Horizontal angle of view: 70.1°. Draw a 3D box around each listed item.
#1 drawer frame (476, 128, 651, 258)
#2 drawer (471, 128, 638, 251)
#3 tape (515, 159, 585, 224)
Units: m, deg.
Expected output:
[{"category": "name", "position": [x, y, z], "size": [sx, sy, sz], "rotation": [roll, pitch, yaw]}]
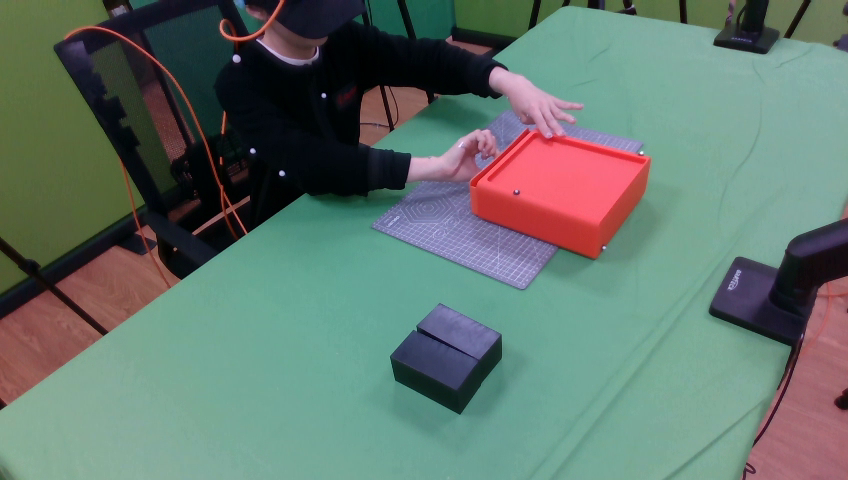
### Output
[{"category": "drawer frame", "position": [0.229, -0.086, 0.992], "size": [0.212, 0.083, 0.202], "rotation": [22, 48, 29]}, {"category": "drawer", "position": [0.215, -0.090, 1.002], "size": [0.210, 0.073, 0.195], "rotation": [23, 48, 29]}, {"category": "tape", "position": [0.209, -0.082, 1.003], "size": [0.117, 0.053, 0.116], "rotation": [-4, 41, 4]}]
